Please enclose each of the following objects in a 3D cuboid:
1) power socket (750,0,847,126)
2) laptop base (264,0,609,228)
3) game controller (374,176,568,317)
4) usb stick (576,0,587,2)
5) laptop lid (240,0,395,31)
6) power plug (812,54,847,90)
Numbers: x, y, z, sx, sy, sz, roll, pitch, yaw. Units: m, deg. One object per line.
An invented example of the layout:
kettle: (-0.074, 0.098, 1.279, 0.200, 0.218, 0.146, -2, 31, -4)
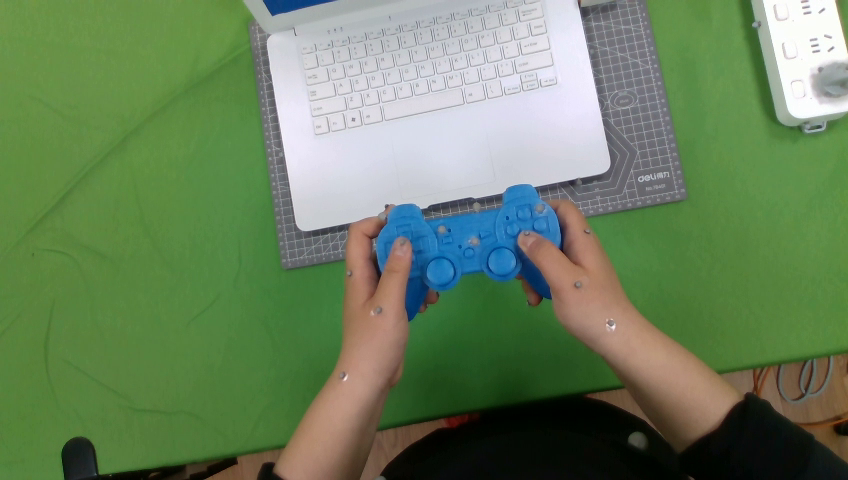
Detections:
power socket: (0.388, -0.233, 0.633, 0.072, 0.033, 0.226, -9, 84, 7)
laptop base: (0.006, -0.159, 0.677, 0.354, 0.023, 0.235, -11, 86, 5)
game controller: (0.035, 0.006, 0.483, 0.155, 0.051, 0.097, -10, 92, 3)
usb stick: (0.179, -0.275, 0.656, 0.059, 0.027, 0.021, -11, 84, 10)
laptop lid: (-0.033, -0.304, 0.576, 0.356, 0.243, 0.013, -12, 75, 7)
power plug: (0.426, -0.167, 0.602, 0.072, 0.053, 0.035, 2, 84, 3)
